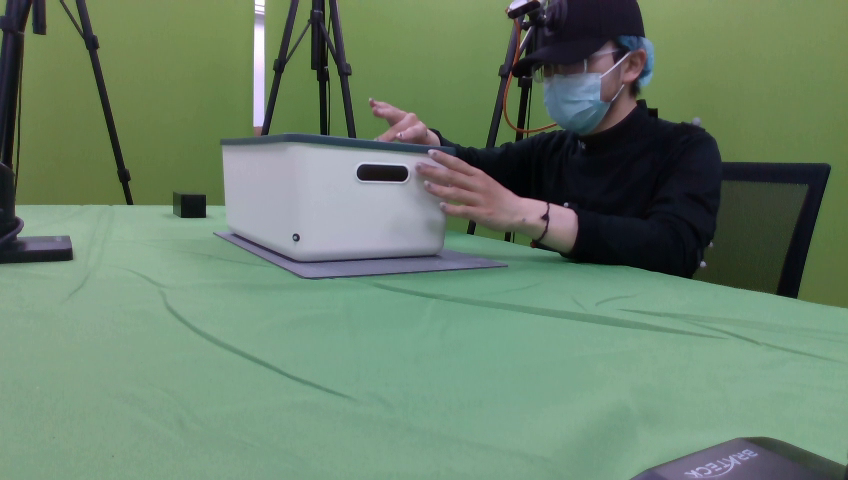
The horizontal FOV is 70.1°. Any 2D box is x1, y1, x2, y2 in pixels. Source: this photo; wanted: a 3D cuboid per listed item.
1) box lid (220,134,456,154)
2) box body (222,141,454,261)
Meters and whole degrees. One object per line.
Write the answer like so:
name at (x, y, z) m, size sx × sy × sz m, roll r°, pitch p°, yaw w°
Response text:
box lid at (-0.148, -0.147, 0.951) m, size 0.265 × 0.015 × 0.369 m, roll -2°, pitch 8°, yaw -33°
box body at (-0.152, -0.074, 0.963) m, size 0.255 × 0.160 × 0.362 m, roll -2°, pitch 9°, yaw -33°
